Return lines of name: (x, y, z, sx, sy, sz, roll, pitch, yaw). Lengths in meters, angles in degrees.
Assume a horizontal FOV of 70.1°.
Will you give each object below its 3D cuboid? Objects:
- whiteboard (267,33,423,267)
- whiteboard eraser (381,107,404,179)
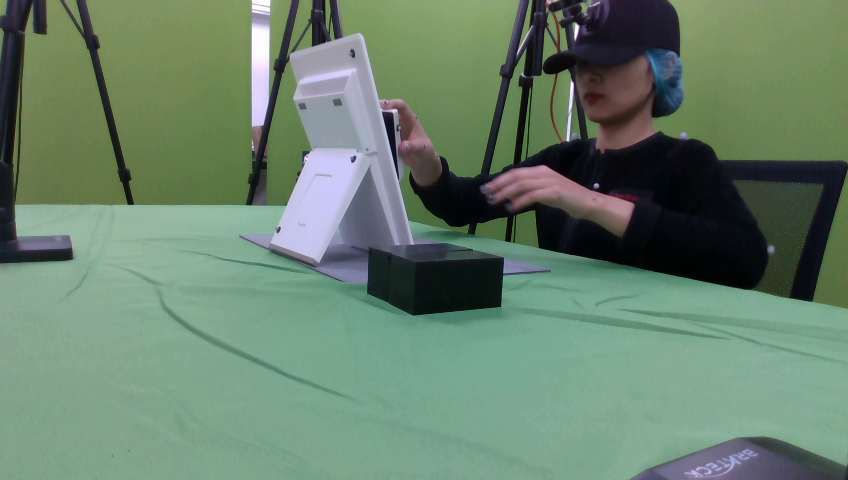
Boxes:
whiteboard: (-0.153, -0.097, 0.819, 0.144, 0.305, 0.216, -25, 21, -29)
whiteboard eraser: (-0.065, -0.146, 0.929, 0.055, 0.113, 0.042, 5, 30, 17)
